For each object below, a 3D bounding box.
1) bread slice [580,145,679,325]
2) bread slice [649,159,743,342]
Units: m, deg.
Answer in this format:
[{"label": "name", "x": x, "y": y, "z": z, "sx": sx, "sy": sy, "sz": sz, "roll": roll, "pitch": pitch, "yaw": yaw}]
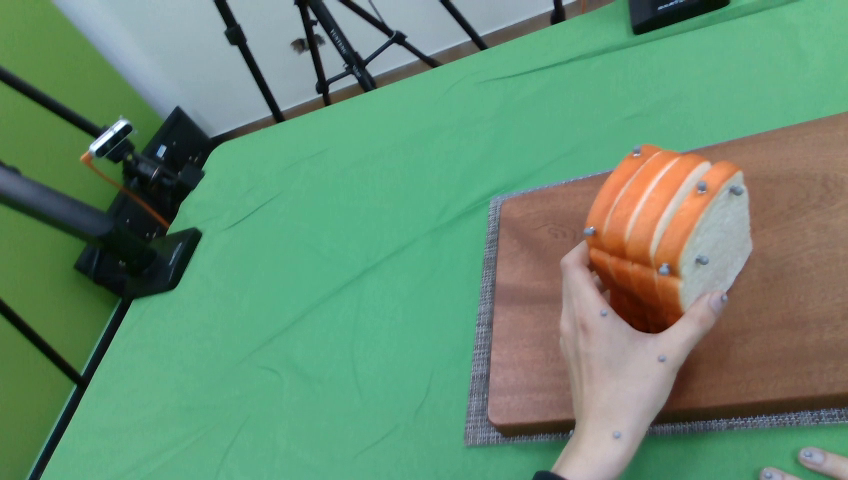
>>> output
[{"label": "bread slice", "x": 0.172, "y": -0.008, "z": 0.484, "sx": 0.107, "sy": 0.136, "sz": 0.018, "roll": -48, "pitch": 41, "yaw": -17}, {"label": "bread slice", "x": 0.204, "y": 0.008, "z": 0.448, "sx": 0.019, "sy": 0.133, "sz": 0.104, "roll": 27, "pitch": 72, "yaw": 40}]
